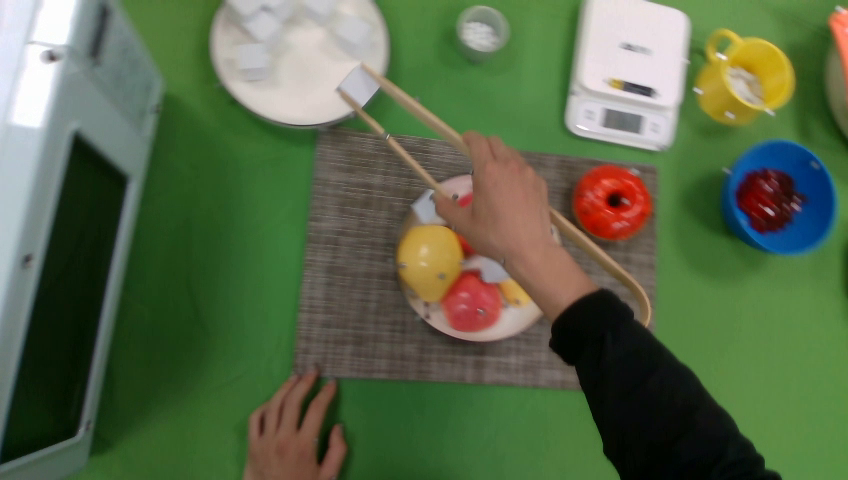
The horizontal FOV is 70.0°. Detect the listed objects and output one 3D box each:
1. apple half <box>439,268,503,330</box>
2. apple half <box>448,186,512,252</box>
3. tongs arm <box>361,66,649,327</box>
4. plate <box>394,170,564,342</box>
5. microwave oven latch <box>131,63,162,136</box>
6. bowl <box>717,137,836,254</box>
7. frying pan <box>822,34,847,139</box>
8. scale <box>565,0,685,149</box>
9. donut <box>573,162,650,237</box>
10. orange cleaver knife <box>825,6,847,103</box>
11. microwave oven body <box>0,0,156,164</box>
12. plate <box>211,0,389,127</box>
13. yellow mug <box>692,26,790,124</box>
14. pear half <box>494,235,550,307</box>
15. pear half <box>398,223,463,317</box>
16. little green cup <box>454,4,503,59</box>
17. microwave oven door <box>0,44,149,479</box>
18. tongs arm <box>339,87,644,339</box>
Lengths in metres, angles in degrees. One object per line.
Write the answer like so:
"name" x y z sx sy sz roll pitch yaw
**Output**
"apple half" 0.058 0.070 0.719 0.081 0.033 0.081 3 76 -11
"apple half" 0.069 -0.027 0.726 0.075 0.053 0.080 -7 86 -7
"tongs arm" 0.074 -0.053 0.610 0.386 0.028 0.028 42 77 11
"plate" 0.067 0.020 0.736 0.210 0.038 0.208 2 82 -10
"microwave oven latch" -0.317 -0.160 0.681 0.030 0.029 0.079 10 81 -8
"bowl" 0.443 -0.051 0.794 0.152 0.077 0.151 1 83 -9
"frying pan" 0.738 -0.135 0.842 0.307 0.103 0.485 -22 78 -11
"scale" 0.270 -0.230 0.813 0.149 0.031 0.200 10 81 -8
"donut" 0.237 -0.051 0.772 0.099 0.048 0.098 1 82 -6
"orange cleaver knife" 0.584 -0.217 0.808 0.077 0.012 0.210 -4 83 -14
"microwave oven body" -0.468 -0.022 0.538 0.327 0.260 0.440 8 81 -9
"plate" -0.148 -0.234 0.740 0.208 0.039 0.207 2 82 -9
"yellow mug" 0.420 -0.230 0.821 0.100 0.064 0.130 -28 86 -12
"pear half" 0.120 0.036 0.737 0.070 0.031 0.087 6 79 5
"pear half" 0.011 0.034 0.703 0.076 0.056 0.109 -1 86 -18
"little green cup" 0.067 -0.266 0.781 0.062 0.038 0.061 1 81 -9
"microwave oven door" -0.329 0.040 0.547 0.039 0.244 0.354 8 80 -8
"tongs arm" 0.059 -0.036 0.607 0.051 0.026 0.383 -42 78 -9
